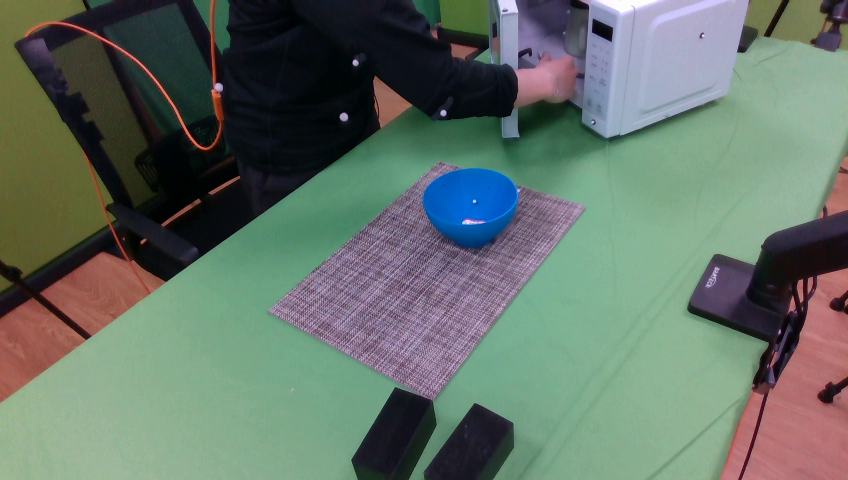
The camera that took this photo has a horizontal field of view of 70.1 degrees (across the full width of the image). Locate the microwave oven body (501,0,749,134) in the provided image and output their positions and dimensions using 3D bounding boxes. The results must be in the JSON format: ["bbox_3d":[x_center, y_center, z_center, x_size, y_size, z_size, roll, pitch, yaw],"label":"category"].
[{"bbox_3d":[0.382,-0.445,1.246,0.327,0.261,0.437,-22,42,-16],"label":"microwave oven body"}]

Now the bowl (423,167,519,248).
[{"bbox_3d":[0.075,-0.041,0.958,0.151,0.077,0.150,-4,40,4],"label":"bowl"}]

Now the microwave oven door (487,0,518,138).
[{"bbox_3d":[0.156,-0.403,1.222,0.039,0.245,0.354,-3,41,4],"label":"microwave oven door"}]

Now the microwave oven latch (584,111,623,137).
[{"bbox_3d":[0.337,-0.222,1.142,0.030,0.029,0.078,-21,42,-14],"label":"microwave oven latch"}]
